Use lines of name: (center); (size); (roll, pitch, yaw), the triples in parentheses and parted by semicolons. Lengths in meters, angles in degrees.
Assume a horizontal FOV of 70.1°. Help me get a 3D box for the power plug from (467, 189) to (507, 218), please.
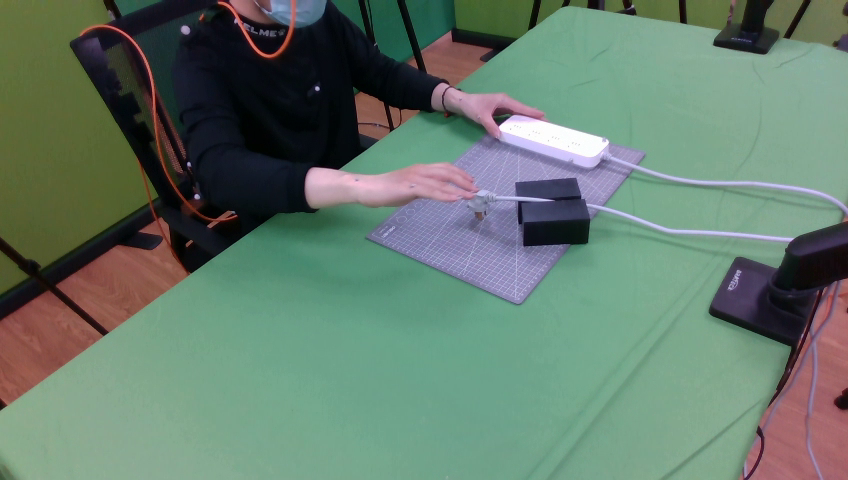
power plug: (0.100, -0.053, 0.984); (0.035, 0.053, 0.072); (-26, 39, -24)

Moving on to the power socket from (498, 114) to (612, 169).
power socket: (0.240, -0.189, 1.141); (0.225, 0.033, 0.072); (25, 51, 31)
